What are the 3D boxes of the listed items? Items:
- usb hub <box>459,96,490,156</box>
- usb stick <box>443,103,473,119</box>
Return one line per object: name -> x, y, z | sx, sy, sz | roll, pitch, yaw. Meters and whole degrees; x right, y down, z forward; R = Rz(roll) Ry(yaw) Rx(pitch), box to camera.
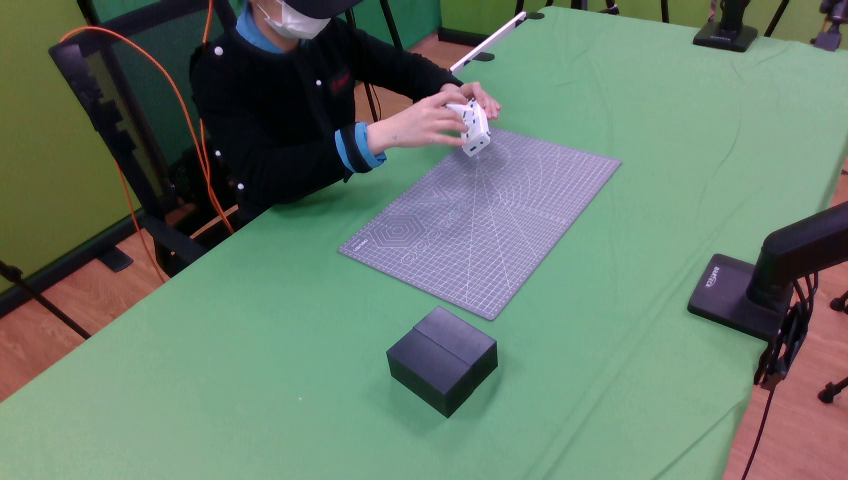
usb hub -> 0.089, -0.206, 1.087 | 0.049, 0.025, 0.124 | -32, 38, 28
usb stick -> 0.064, -0.220, 1.039 | 0.059, 0.021, 0.027 | -2, 18, -38
